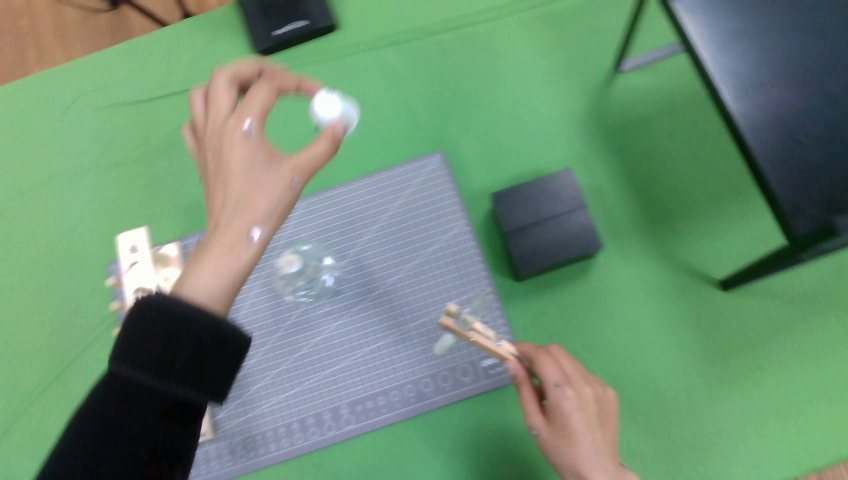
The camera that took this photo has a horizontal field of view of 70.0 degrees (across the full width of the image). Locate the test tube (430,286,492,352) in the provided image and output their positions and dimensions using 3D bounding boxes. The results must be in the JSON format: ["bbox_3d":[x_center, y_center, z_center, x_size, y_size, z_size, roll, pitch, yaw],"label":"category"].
[{"bbox_3d":[0.031,0.079,0.575,0.017,0.151,0.017,7,62,-13],"label":"test tube"}]

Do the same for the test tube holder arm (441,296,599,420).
[{"bbox_3d":[0.090,0.111,0.570,0.178,0.015,0.013,36,61,1],"label":"test tube holder arm"}]

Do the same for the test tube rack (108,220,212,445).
[{"bbox_3d":[-0.311,0.108,0.693,0.067,0.085,0.241,-15,76,1],"label":"test tube rack"}]

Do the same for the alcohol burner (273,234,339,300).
[{"bbox_3d":[-0.138,0.028,0.685,0.078,0.119,0.077,-1,78,5],"label":"alcohol burner"}]

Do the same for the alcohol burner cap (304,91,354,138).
[{"bbox_3d":[-0.080,-0.104,0.491,0.034,0.048,0.034,0,88,10],"label":"alcohol burner cap"}]

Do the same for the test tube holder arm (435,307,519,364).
[{"bbox_3d":[0.051,0.090,0.567,0.088,0.015,0.010,30,60,-2],"label":"test tube holder arm"}]
